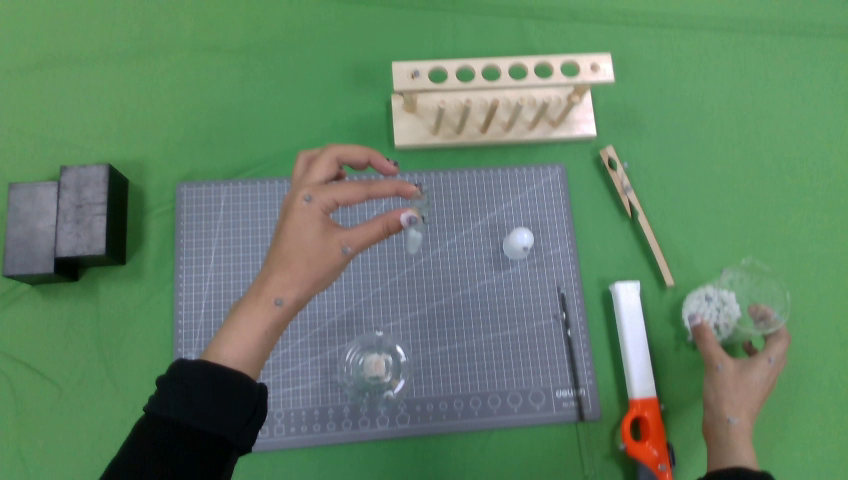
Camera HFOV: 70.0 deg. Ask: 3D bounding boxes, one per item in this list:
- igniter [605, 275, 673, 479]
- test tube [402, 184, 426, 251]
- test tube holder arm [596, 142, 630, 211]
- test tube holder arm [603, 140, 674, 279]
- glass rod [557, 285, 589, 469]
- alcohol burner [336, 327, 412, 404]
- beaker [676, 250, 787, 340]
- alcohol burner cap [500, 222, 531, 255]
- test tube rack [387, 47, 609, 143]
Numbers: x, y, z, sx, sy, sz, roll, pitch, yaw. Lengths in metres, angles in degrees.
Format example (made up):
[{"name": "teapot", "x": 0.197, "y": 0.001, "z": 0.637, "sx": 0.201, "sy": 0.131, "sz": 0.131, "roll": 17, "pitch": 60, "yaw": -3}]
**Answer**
[{"name": "igniter", "x": 0.232, "y": 0.176, "z": 0.655, "sx": 0.057, "sy": 0.025, "sz": 0.275, "roll": -2, "pitch": 78, "yaw": -14}, {"name": "test tube", "x": -0.010, "y": -0.015, "z": 0.523, "sx": 0.017, "sy": 0.151, "sz": 0.017, "roll": 1, "pitch": 74, "yaw": -3}, {"name": "test tube holder arm", "x": 0.227, "y": -0.075, "z": 0.719, "sx": 0.010, "sy": 0.015, "sz": 0.087, "roll": -27, "pitch": 80, "yaw": 25}, {"name": "test tube holder arm", "x": 0.250, "y": -0.037, "z": 0.709, "sx": 0.013, "sy": 0.015, "sz": 0.177, "roll": -29, "pitch": 79, "yaw": 24}, {"name": "glass rod", "x": 0.162, "y": 0.147, "z": 0.664, "sx": 0.008, "sy": 0.008, "sz": 0.198, "roll": -4, "pitch": 77, "yaw": -5}, {"name": "alcohol burner", "x": -0.050, "y": 0.123, "z": 0.601, "sx": 0.078, "sy": 0.119, "sz": 0.077, "roll": 1, "pitch": 74, "yaw": -3}, {"name": "beaker", "x": 0.320, "y": 0.063, "z": 0.645, "sx": 0.074, "sy": 0.101, "sz": 0.083, "roll": 8, "pitch": 72, "yaw": 0}, {"name": "alcohol burner cap", "x": 0.104, "y": -0.004, "z": 0.678, "sx": 0.034, "sy": 0.048, "sz": 0.033, "roll": 1, "pitch": 77, "yaw": -4}, {"name": "test tube rack", "x": 0.081, "y": -0.164, "z": 0.693, "sx": 0.243, "sy": 0.085, "sz": 0.066, "roll": -4, "pitch": 77, "yaw": -5}]
